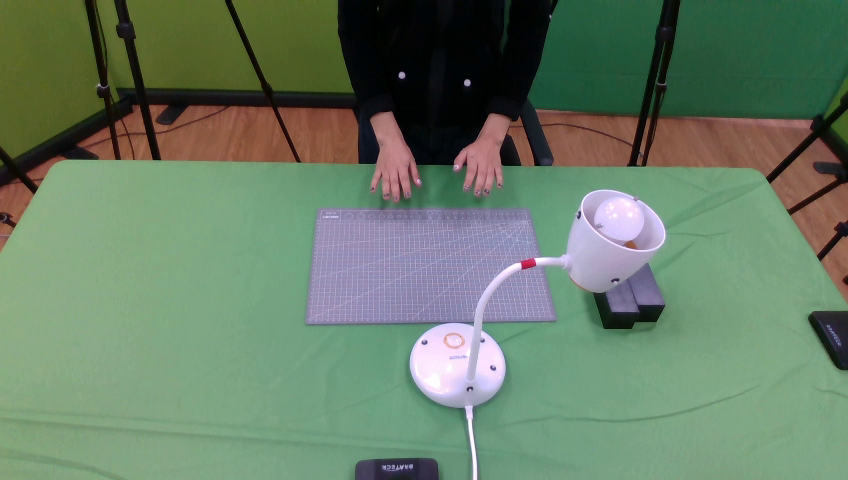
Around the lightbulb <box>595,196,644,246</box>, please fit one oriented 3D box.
[{"bbox_3d":[0.243,-0.008,0.784,0.059,0.108,0.059,8,40,-7],"label":"lightbulb"}]

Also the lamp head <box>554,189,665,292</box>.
[{"bbox_3d":[0.234,0.012,0.796,0.113,0.123,0.111,13,43,-12],"label":"lamp head"}]

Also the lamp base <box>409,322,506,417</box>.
[{"bbox_3d":[0.063,0.160,0.941,0.161,0.181,0.178,-10,50,-13],"label":"lamp base"}]
